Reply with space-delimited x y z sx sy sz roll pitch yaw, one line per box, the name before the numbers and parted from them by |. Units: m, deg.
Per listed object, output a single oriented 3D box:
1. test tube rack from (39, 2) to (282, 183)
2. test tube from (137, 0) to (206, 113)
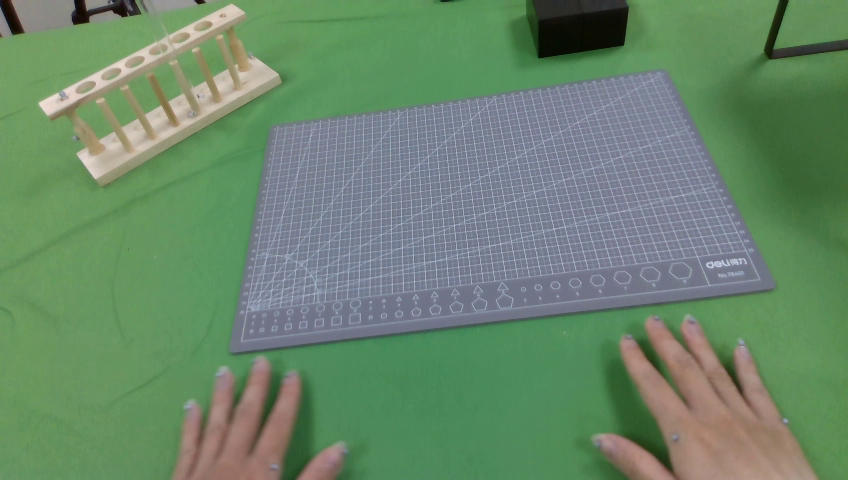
test tube rack | -0.294 -0.174 0.701 0.242 0.086 0.066 -37 54 -20
test tube | -0.275 -0.202 0.662 0.017 0.152 0.017 -4 49 5
